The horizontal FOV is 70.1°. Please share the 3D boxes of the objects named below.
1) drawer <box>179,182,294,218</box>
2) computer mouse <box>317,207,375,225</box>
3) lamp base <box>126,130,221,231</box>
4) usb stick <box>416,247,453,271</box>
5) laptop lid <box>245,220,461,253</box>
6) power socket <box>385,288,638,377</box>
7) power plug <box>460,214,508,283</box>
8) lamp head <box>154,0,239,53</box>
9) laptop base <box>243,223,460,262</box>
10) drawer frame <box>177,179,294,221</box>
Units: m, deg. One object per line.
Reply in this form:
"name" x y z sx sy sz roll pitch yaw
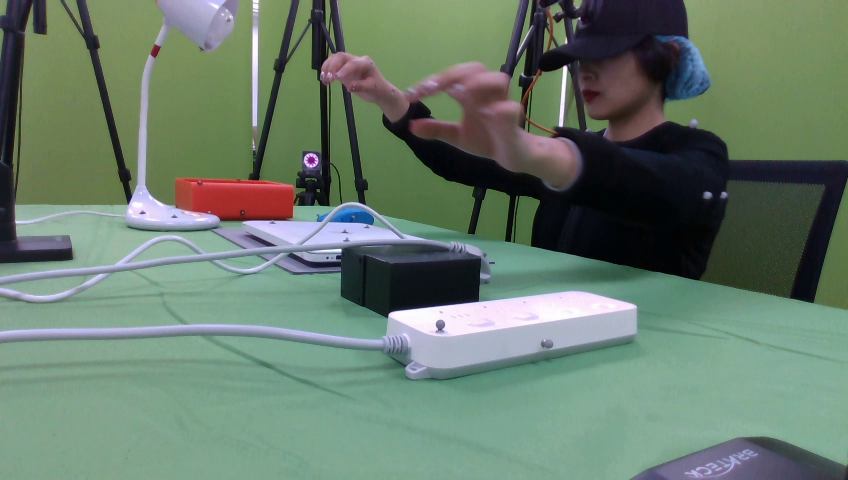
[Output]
"drawer" -0.420 -0.091 1.354 0.213 0.073 0.193 -3 10 -31
"computer mouse" -0.163 -0.048 1.264 0.118 0.041 0.062 -6 12 -29
"lamp base" -0.469 -0.112 1.108 0.179 0.180 0.160 0 7 3
"usb stick" 0.010 0.024 0.755 0.027 0.021 0.059 37 -17 -17
"laptop lid" -0.124 -0.009 0.945 0.243 0.013 0.355 1 7 -29
"power socket" 0.074 0.064 0.462 0.228 0.032 0.072 -3 8 -34
"power plug" 0.064 0.013 0.625 0.053 0.072 0.035 1 39 -5
"lamp head" -0.406 -0.402 1.059 0.123 0.112 0.112 25 6 -6
"laptop base" -0.126 0.003 0.946 0.237 0.023 0.352 2 6 -31
"drawer frame" -0.422 -0.092 1.352 0.215 0.082 0.200 -3 10 -32
